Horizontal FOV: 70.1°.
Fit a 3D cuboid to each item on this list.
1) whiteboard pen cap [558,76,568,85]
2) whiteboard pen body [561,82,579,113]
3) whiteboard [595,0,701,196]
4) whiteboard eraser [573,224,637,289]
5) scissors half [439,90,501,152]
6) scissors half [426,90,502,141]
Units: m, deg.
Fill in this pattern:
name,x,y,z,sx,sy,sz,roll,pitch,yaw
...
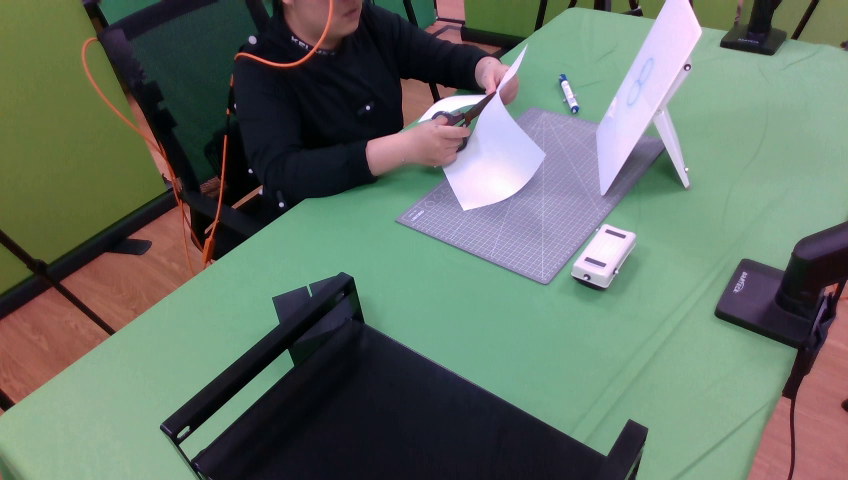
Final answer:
name,x,y,z,sx,sy,sz,roll,pitch,yaw
whiteboard pen cap,0.310,-0.350,1.341,0.018,0.018,0.033,-6,41,2
whiteboard pen body,0.310,-0.311,1.298,0.017,0.017,0.140,-6,41,2
whiteboard,0.421,-0.227,1.010,0.144,0.305,0.216,18,42,-2
whiteboard eraser,0.267,0.025,0.891,0.055,0.042,0.113,19,47,31
scissors half,0.082,-0.207,1.064,0.040,0.174,0.013,31,49,-14
scissors half,0.067,-0.220,1.057,0.174,0.040,0.013,-22,31,38
